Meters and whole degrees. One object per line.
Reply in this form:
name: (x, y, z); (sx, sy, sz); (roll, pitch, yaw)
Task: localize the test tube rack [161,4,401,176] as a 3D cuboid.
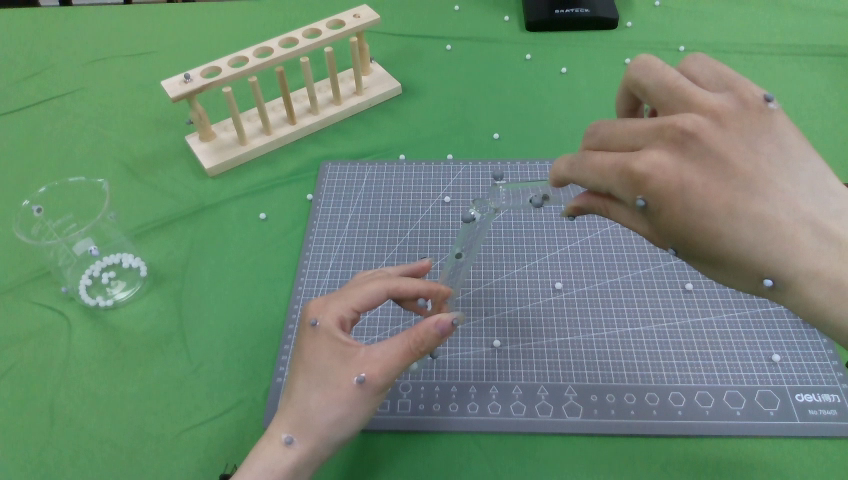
test tube rack: (-0.148, -0.170, 0.669); (0.242, 0.086, 0.066); (-29, 55, -19)

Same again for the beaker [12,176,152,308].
beaker: (-0.287, 0.004, 0.525); (0.073, 0.101, 0.083); (22, 54, 20)

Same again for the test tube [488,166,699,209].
test tube: (0.105, -0.032, 0.360); (0.151, 0.017, 0.017); (-7, 48, -24)

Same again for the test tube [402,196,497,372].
test tube: (0.012, 0.034, 0.385); (0.017, 0.151, 0.017); (14, 37, -11)
